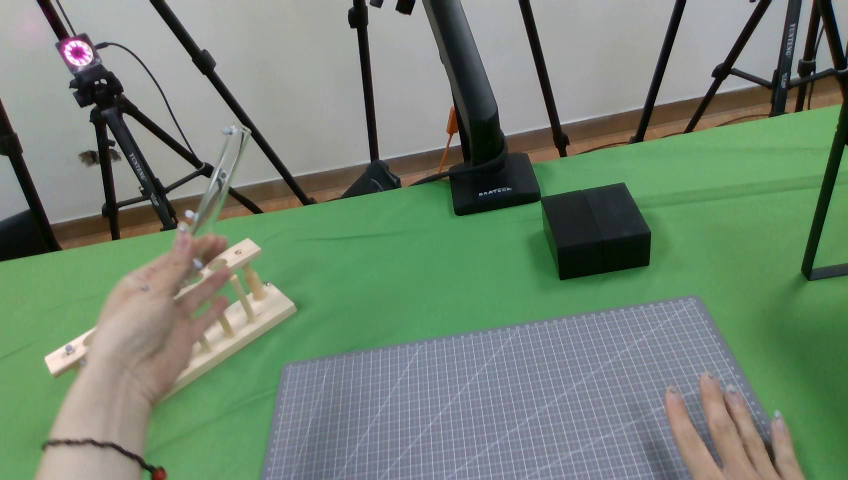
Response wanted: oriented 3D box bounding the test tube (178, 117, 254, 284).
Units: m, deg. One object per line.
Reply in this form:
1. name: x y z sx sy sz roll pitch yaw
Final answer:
1. test tube: -0.170 -0.029 0.489 0.017 0.151 0.017 24 17 -8

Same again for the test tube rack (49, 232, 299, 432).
1. test tube rack: -0.270 0.097 0.682 0.242 0.086 0.066 -35 42 -25
